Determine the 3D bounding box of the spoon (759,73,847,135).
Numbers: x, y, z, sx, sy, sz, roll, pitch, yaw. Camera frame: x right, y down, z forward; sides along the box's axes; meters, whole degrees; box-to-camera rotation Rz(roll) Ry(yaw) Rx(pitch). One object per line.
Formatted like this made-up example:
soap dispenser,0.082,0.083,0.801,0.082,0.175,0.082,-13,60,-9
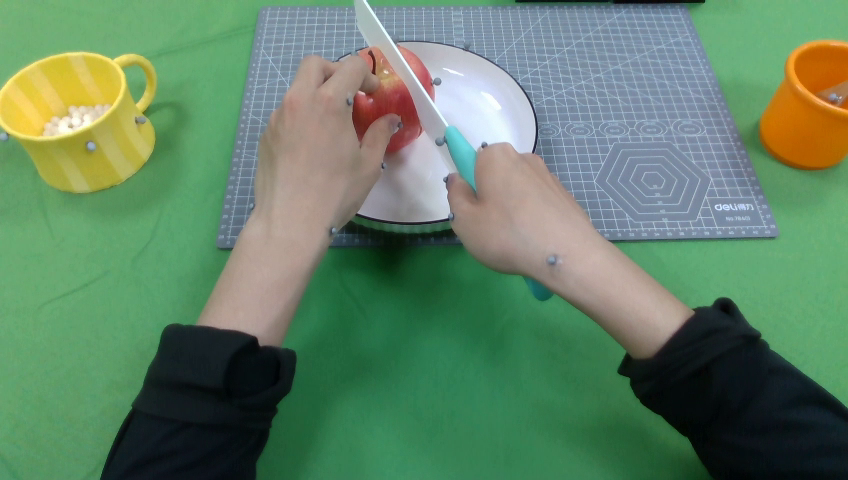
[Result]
spoon,0.373,-0.144,0.493,0.022,0.194,0.041,25,44,-38

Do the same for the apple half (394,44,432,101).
apple half,-0.012,-0.127,0.506,0.033,0.082,0.080,-29,62,-13

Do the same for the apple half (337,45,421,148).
apple half,-0.042,-0.110,0.497,0.053,0.075,0.080,-35,69,-10

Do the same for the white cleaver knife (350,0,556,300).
white cleaver knife,0.013,-0.078,0.446,0.021,0.066,0.284,-28,71,-7

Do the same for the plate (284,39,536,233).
plate,-0.012,-0.089,0.515,0.209,0.038,0.207,1,57,-1

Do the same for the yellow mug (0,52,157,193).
yellow mug,-0.279,-0.109,0.511,0.099,0.064,0.130,29,60,17
